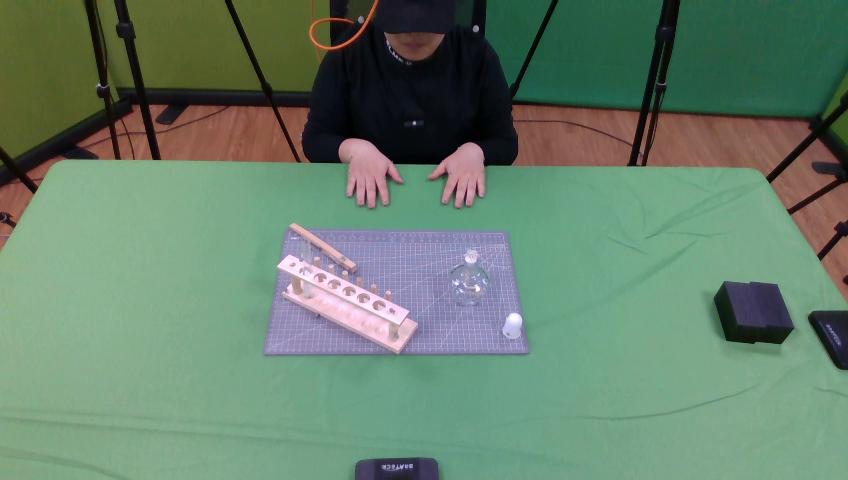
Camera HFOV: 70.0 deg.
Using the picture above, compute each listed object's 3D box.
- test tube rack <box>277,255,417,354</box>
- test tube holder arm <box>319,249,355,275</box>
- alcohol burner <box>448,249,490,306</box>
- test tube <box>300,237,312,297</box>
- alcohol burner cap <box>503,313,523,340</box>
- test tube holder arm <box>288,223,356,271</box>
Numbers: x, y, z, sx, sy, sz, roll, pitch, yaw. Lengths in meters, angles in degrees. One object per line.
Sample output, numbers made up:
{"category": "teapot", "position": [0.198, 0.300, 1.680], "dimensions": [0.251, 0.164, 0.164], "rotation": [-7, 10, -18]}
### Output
{"category": "test tube rack", "position": [-0.131, 0.099, 1.045], "dimensions": [0.241, 0.085, 0.066], "rotation": [23, 49, 17]}
{"category": "test tube holder arm", "position": [-0.166, 0.038, 1.154], "dimensions": [0.087, 0.010, 0.015], "rotation": [37, 49, 21]}
{"category": "alcohol burner", "position": [0.081, 0.062, 1.078], "dimensions": [0.078, 0.120, 0.077], "rotation": [1, 45, -1]}
{"category": "test tube", "position": [-0.198, 0.049, 1.019], "dimensions": [0.017, 0.151, 0.017], "rotation": [4, 49, -5]}
{"category": "alcohol burner cap", "position": [0.155, 0.147, 1.051], "dimensions": [0.034, 0.048, 0.033], "rotation": [1, 45, -1]}
{"category": "test tube holder arm", "position": [-0.199, 0.011, 1.169], "dimensions": [0.177, 0.013, 0.015], "rotation": [32, 46, 26]}
